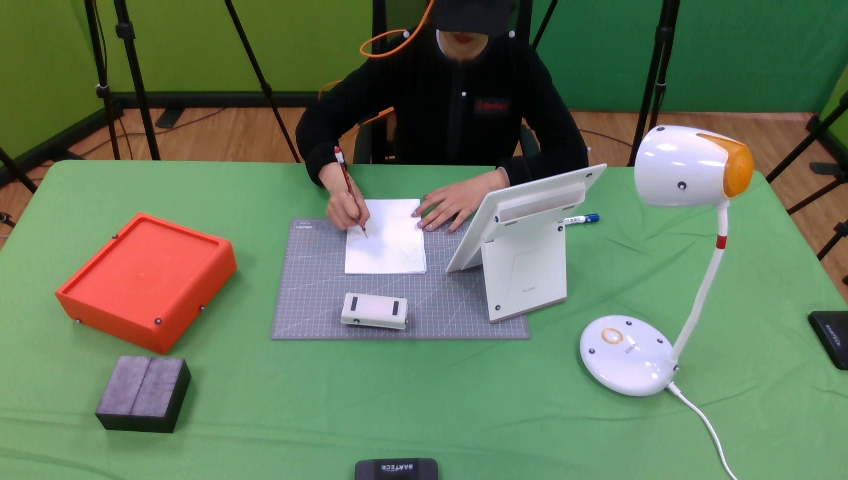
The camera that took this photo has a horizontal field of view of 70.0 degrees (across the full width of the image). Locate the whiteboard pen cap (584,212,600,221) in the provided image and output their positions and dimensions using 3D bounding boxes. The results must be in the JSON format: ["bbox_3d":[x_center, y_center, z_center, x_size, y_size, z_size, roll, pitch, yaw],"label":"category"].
[{"bbox_3d":[0.351,-0.048,1.271,0.033,0.018,0.018,-6,47,-11],"label":"whiteboard pen cap"}]

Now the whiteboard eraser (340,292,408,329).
[{"bbox_3d":[-0.087,0.125,1.052,0.113,0.042,0.055,5,45,1],"label":"whiteboard eraser"}]

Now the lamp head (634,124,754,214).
[{"bbox_3d":[0.351,-0.089,0.776,0.112,0.113,0.122,-30,30,-28],"label":"lamp head"}]

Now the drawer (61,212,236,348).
[{"bbox_3d":[-0.473,0.064,1.060,0.194,0.073,0.211,18,48,11],"label":"drawer"}]

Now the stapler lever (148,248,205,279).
[{"bbox_3d":[-0.444,0.038,1.083,0.118,0.040,0.027,19,51,17],"label":"stapler lever"}]

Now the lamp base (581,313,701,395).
[{"bbox_3d":[0.361,0.144,0.973,0.178,0.181,0.160,34,53,23],"label":"lamp base"}]

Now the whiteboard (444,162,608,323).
[{"bbox_3d":[0.186,0.026,1.028,0.217,0.306,0.143,-14,68,-17],"label":"whiteboard"}]

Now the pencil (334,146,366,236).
[{"bbox_3d":[-0.139,-0.089,1.157,0.012,0.195,0.012,-12,29,7],"label":"pencil"}]

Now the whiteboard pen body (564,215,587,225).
[{"bbox_3d":[0.291,-0.040,1.261,0.141,0.017,0.017,-6,47,-11],"label":"whiteboard pen body"}]

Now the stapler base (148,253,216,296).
[{"bbox_3d":[-0.443,0.058,1.108,0.130,0.024,0.041,24,53,12],"label":"stapler base"}]

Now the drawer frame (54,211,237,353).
[{"bbox_3d":[-0.473,0.067,1.055,0.201,0.083,0.212,17,48,11],"label":"drawer frame"}]
